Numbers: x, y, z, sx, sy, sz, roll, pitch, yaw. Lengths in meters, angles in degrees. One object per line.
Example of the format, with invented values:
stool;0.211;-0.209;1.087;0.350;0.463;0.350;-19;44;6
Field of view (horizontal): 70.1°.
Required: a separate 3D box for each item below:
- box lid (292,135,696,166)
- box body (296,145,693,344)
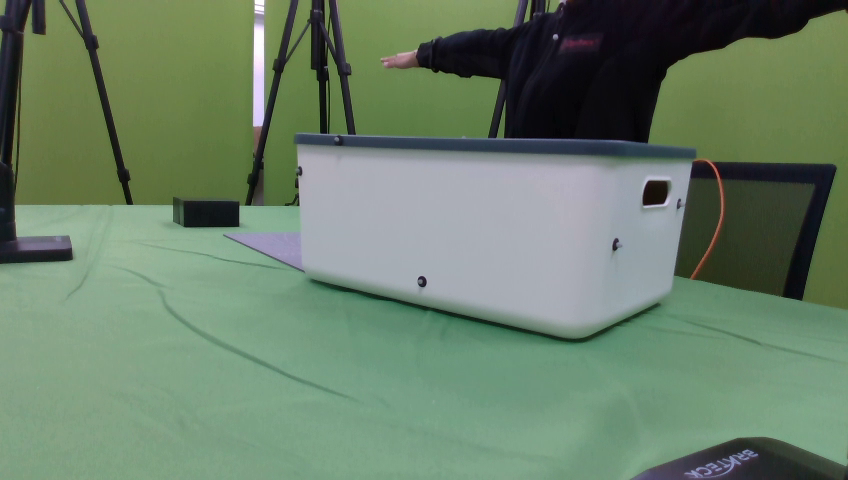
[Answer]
box lid;0.068;-0.094;0.645;0.369;0.015;0.265;8;9;37
box body;0.065;-0.020;0.653;0.362;0.160;0.255;9;9;36
